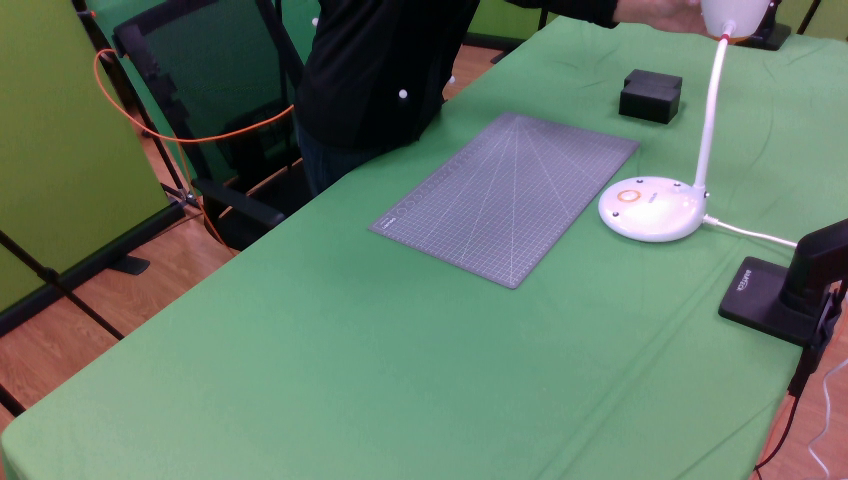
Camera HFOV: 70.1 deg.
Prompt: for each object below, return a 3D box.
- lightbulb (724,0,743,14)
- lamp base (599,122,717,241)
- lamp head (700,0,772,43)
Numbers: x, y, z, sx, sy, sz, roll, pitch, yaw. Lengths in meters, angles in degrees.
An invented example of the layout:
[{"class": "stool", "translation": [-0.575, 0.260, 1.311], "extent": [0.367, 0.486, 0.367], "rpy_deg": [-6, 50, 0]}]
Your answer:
[{"class": "lightbulb", "translation": [0.466, -0.393, 0.905], "extent": [0.059, 0.108, 0.059], "rpy_deg": [-9, 36, 7]}, {"class": "lamp base", "translation": [0.367, -0.109, 0.919], "extent": [0.178, 0.181, 0.160], "rpy_deg": [13, 45, 20]}, {"class": "lamp head", "translation": [0.472, -0.363, 0.917], "extent": [0.112, 0.123, 0.112], "rpy_deg": [-7, 33, 5]}]
